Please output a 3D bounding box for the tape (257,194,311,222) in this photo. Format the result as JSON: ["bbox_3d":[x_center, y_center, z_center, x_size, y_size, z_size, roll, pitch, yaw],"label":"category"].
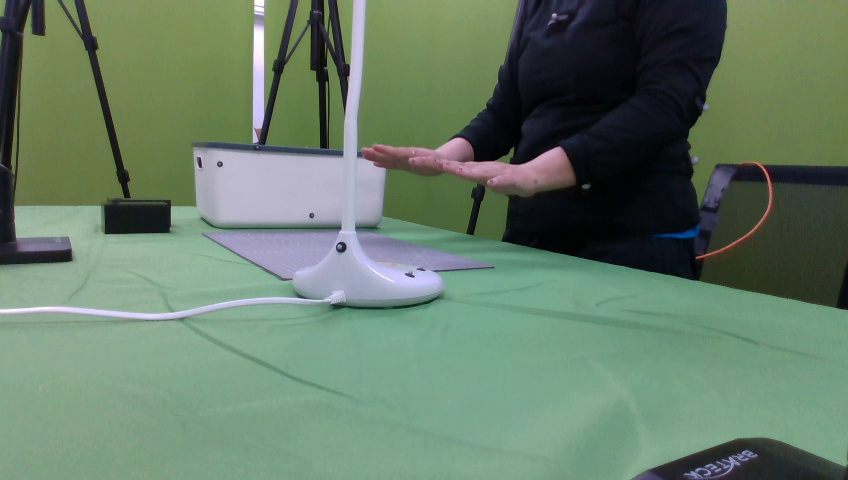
[{"bbox_3d":[-0.301,-0.070,1.297,0.117,0.052,0.117,3,7,0],"label":"tape"}]

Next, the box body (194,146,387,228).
[{"bbox_3d":[-0.288,-0.118,1.291,0.366,0.160,0.253,-1,8,-28],"label":"box body"}]

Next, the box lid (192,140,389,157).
[{"bbox_3d":[-0.287,-0.191,1.281,0.373,0.015,0.262,0,8,-28],"label":"box lid"}]

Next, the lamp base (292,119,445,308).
[{"bbox_3d":[-0.056,-0.030,0.616,0.160,0.180,0.179,3,10,8],"label":"lamp base"}]
